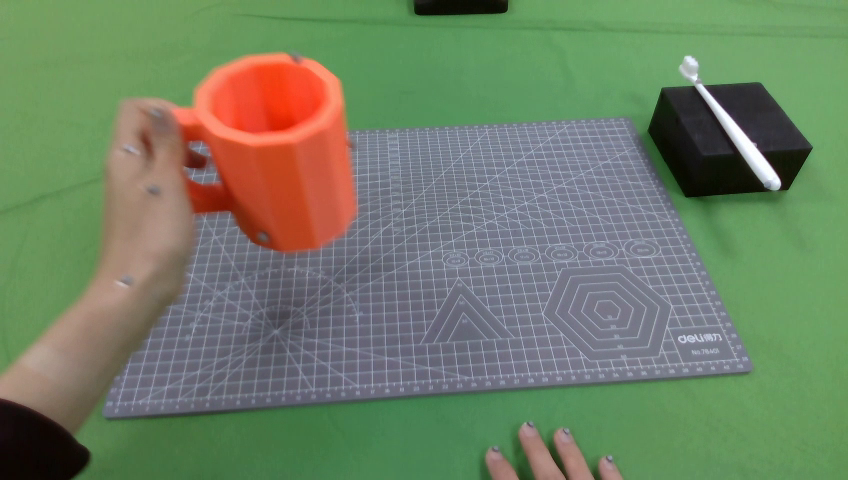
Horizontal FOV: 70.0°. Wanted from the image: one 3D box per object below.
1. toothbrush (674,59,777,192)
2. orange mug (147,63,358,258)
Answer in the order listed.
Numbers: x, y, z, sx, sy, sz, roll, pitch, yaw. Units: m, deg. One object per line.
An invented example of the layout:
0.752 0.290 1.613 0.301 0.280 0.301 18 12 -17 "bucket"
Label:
0.265 -0.107 0.539 0.014 0.017 0.180 -3 48 -8 "toothbrush"
-0.107 -0.049 0.395 0.126 0.101 0.082 -5 51 -11 "orange mug"
